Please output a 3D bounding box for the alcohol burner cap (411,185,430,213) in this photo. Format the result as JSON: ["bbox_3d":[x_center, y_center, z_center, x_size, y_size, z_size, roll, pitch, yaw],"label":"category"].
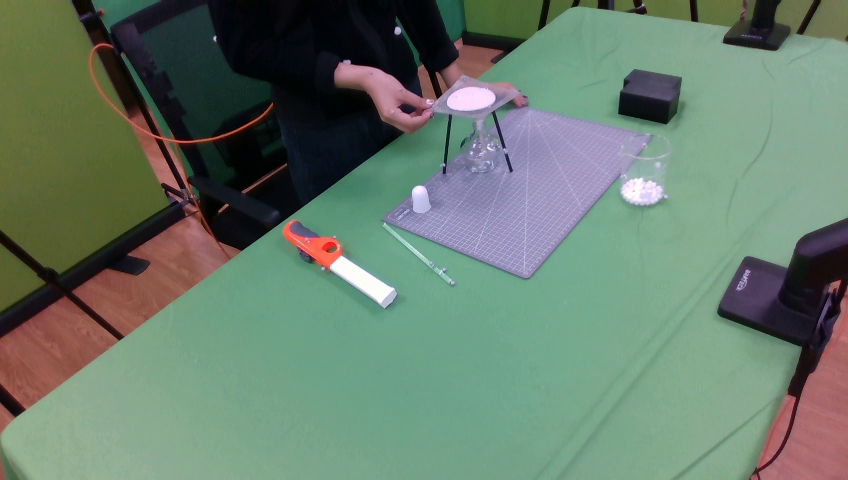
[{"bbox_3d":[-0.008,-0.074,1.050,0.034,0.048,0.033,-3,42,3],"label":"alcohol burner cap"}]

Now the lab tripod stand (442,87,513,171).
[{"bbox_3d":[0.097,-0.200,1.108,0.148,0.132,0.147,-4,40,4],"label":"lab tripod stand"}]

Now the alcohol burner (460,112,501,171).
[{"bbox_3d":[0.103,-0.186,1.106,0.078,0.119,0.077,-4,42,4],"label":"alcohol burner"}]

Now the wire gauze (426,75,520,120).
[{"bbox_3d":[0.086,-0.250,1.063,0.120,0.011,0.125,22,50,30],"label":"wire gauze"}]

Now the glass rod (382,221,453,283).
[{"bbox_3d":[-0.014,0.016,0.976,0.008,0.008,0.198,-29,44,-22],"label":"glass rod"}]

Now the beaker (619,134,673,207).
[{"bbox_3d":[0.357,-0.111,0.986,0.084,0.101,0.073,-10,40,1],"label":"beaker"}]

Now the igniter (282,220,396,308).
[{"bbox_3d":[-0.146,0.032,0.966,0.274,0.025,0.057,30,64,37],"label":"igniter"}]
